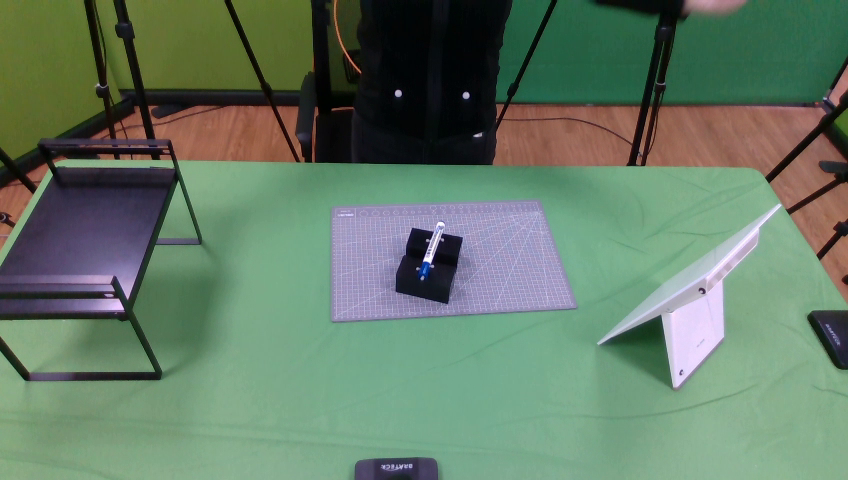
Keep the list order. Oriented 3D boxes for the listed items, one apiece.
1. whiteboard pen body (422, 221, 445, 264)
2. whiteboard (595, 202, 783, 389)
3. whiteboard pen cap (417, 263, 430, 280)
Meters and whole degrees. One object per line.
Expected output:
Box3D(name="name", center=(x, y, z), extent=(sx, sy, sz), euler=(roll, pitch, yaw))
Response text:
Box3D(name="whiteboard pen body", center=(0.015, 0.013, 1.115), extent=(0.017, 0.017, 0.140), euler=(13, 45, 9))
Box3D(name="whiteboard", center=(0.459, 0.112, 0.968), extent=(0.217, 0.306, 0.143), euler=(-31, 74, -29))
Box3D(name="whiteboard pen cap", center=(0.000, 0.053, 1.075), extent=(0.018, 0.018, 0.033), euler=(13, 44, 9))
